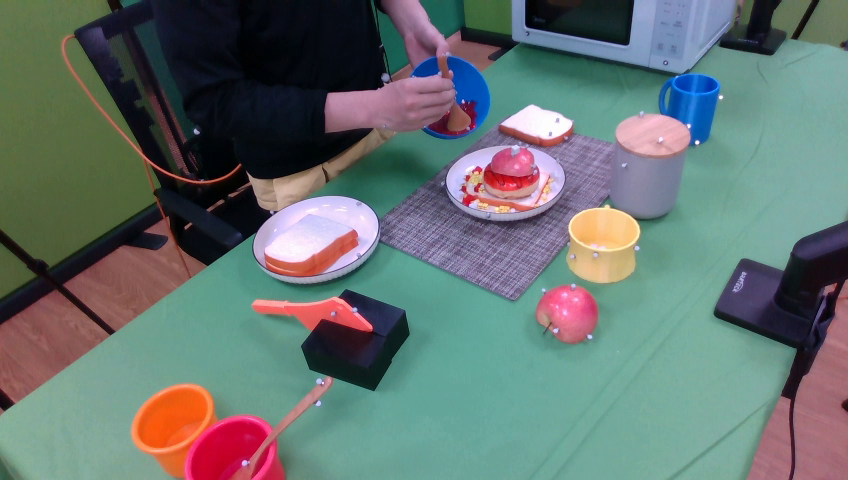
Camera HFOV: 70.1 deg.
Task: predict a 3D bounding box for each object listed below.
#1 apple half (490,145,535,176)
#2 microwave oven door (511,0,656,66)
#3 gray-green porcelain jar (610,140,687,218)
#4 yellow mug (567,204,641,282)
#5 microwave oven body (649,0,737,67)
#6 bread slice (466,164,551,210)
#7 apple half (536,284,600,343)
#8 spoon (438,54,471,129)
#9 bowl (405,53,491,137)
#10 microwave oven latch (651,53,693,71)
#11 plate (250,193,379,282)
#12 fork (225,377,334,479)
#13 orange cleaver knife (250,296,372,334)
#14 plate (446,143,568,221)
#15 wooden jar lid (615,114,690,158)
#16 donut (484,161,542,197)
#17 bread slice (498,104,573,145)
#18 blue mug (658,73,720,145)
[{"bbox_3d":[0.147,-0.138,0.994,0.081,0.033,0.081,1,38,-1],"label":"apple half"},{"bbox_3d":[0.351,-0.539,1.348,0.353,0.245,0.039,24,50,31],"label":"microwave oven door"},{"bbox_3d":[0.354,-0.106,0.964,0.106,0.127,0.105,-4,41,4],"label":"gray-green porcelain jar"},{"bbox_3d":[0.268,-0.005,0.905,0.099,0.064,0.130,7,42,16],"label":"yellow mug"},{"bbox_3d":[0.475,-0.602,1.411,0.438,0.261,0.327,23,50,32],"label":"microwave oven body"},{"bbox_3d":[0.141,-0.093,1.041,0.133,0.018,0.107,10,43,20],"label":"bread slice"},{"bbox_3d":[0.196,0.091,0.815,0.075,0.053,0.080,-22,42,-20],"label":"apple half"},{"bbox_3d":[0.041,-0.223,0.926,0.041,0.195,0.021,-17,63,6],"label":"spoon"},{"bbox_3d":[0.035,-0.243,1.068,0.152,0.076,0.151,2,78,-11],"label":"bowl"},{"bbox_3d":[0.532,-0.386,1.301,0.078,0.029,0.030,27,52,34],"label":"microwave oven latch"},{"bbox_3d":[-0.174,-0.001,0.984,0.209,0.038,0.208,-3,40,3],"label":"plate"},{"bbox_3d":[-0.163,0.216,0.646,0.207,0.019,0.028,-49,42,16],"label":"fork"},{"bbox_3d":[-0.159,0.103,0.828,0.210,0.078,0.012,-4,43,39],"label":"orange cleaver knife"},{"bbox_3d":[0.142,-0.097,1.045,0.207,0.039,0.206,-4,40,4],"label":"plate"},{"bbox_3d":[0.347,-0.155,0.923,0.108,0.021,0.108,-3,44,4],"label":"wooden jar lid"},{"bbox_3d":[0.149,-0.109,1.016,0.099,0.048,0.098,-4,39,4],"label":"donut"},{"bbox_3d":[0.231,-0.231,1.205,0.105,0.019,0.130,-36,47,-29],"label":"bread slice"},{"bbox_3d":[0.483,-0.250,1.127,0.082,0.106,0.115,-26,44,-20],"label":"blue mug"}]
